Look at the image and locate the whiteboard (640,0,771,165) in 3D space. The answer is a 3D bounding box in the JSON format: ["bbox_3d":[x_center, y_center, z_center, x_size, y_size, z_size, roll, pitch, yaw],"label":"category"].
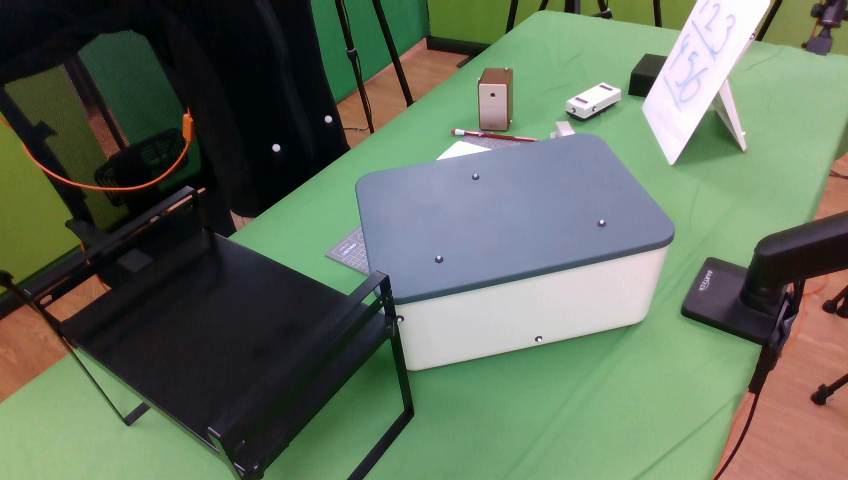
[{"bbox_3d":[0.543,-0.299,1.076,0.144,0.305,0.216,12,40,-7],"label":"whiteboard"}]

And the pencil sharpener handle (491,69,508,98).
[{"bbox_3d":[0.155,-0.329,1.254,0.036,0.068,0.030,17,43,4],"label":"pencil sharpener handle"}]

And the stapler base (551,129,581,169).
[{"bbox_3d":[0.268,-0.178,1.142,0.041,0.024,0.130,1,37,3],"label":"stapler base"}]

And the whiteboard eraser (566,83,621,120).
[{"bbox_3d":[0.348,-0.283,1.242,0.113,0.042,0.055,-30,43,-24],"label":"whiteboard eraser"}]

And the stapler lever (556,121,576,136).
[{"bbox_3d":[0.266,-0.198,1.128,0.027,0.040,0.117,0,38,3],"label":"stapler lever"}]

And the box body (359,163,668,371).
[{"bbox_3d":[0.108,0.014,0.833,0.365,0.161,0.252,-11,41,-5],"label":"box body"}]

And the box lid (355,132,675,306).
[{"bbox_3d":[0.103,-0.042,0.785,0.372,0.015,0.261,-12,41,-5],"label":"box lid"}]

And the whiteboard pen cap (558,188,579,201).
[{"bbox_3d":[0.245,-0.077,1.028,0.033,0.018,0.018,-18,42,-15],"label":"whiteboard pen cap"}]

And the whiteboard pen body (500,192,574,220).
[{"bbox_3d":[0.191,-0.059,1.011,0.141,0.017,0.017,-18,41,-16],"label":"whiteboard pen body"}]

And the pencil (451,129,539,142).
[{"bbox_3d":[0.146,-0.207,1.205,0.193,0.012,0.012,10,43,19],"label":"pencil"}]

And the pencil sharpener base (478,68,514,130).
[{"bbox_3d":[0.148,-0.286,1.224,0.061,0.107,0.076,5,41,15],"label":"pencil sharpener base"}]
